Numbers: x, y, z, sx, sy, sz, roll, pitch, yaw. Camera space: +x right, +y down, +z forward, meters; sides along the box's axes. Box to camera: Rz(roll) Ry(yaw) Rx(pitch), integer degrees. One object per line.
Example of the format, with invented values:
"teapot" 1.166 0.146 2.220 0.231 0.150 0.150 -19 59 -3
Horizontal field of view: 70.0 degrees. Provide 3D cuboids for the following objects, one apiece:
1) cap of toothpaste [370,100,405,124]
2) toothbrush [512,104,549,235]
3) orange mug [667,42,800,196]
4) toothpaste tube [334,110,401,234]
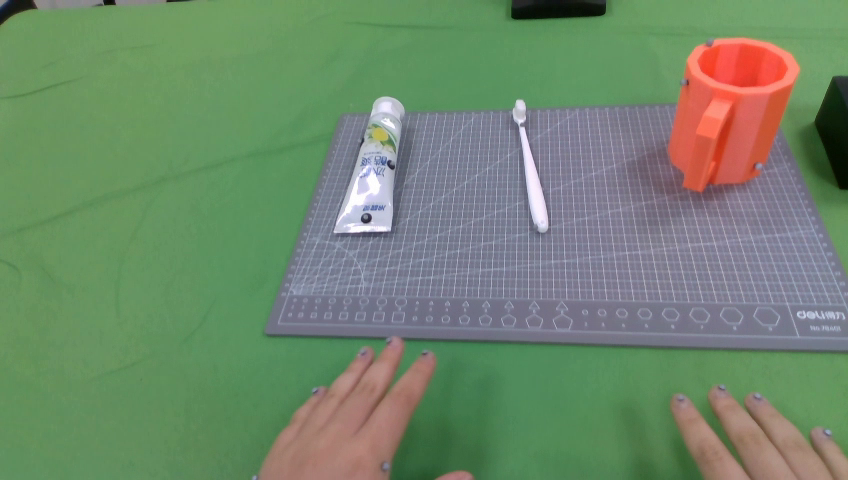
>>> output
"cap of toothpaste" -0.039 -0.132 0.642 0.037 0.038 0.011 0 51 8
"toothbrush" 0.102 -0.073 0.581 0.014 0.017 0.180 6 47 -8
"orange mug" 0.258 -0.099 0.525 0.083 0.102 0.126 23 50 28
"toothpaste tube" -0.049 -0.071 0.595 0.055 0.035 0.163 -4 50 13
